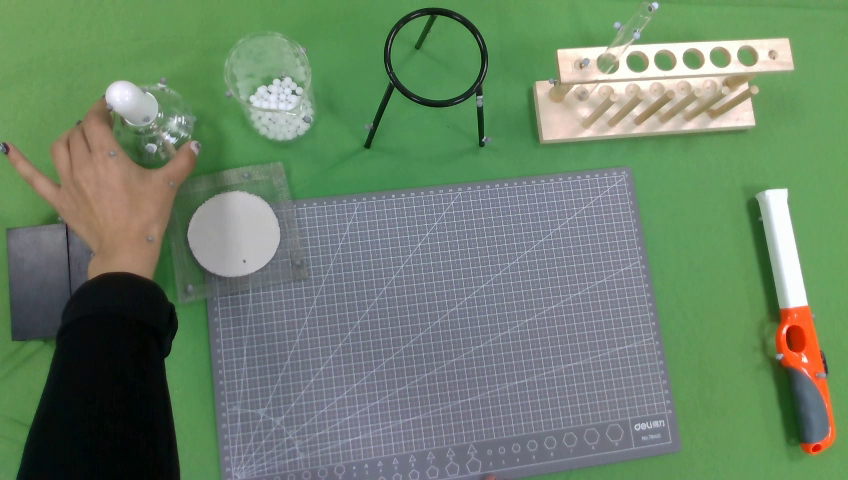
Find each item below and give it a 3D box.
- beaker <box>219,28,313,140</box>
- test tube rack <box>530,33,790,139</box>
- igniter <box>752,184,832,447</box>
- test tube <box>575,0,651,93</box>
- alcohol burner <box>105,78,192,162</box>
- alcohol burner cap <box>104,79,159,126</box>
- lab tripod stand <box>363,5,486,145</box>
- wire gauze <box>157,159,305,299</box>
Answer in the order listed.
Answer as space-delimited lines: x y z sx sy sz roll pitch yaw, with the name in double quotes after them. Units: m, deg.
-0.142 -0.140 0.577 0.074 0.100 0.084 -37 88 -10 "beaker"
0.242 -0.158 0.630 0.243 0.085 0.066 -5 82 -7 "test tube rack"
0.390 0.076 0.643 0.057 0.025 0.275 -4 82 -18 "igniter"
0.174 -0.178 0.575 0.017 0.150 0.017 1 77 -6 "test tube"
-0.256 -0.115 0.552 0.078 0.119 0.077 1 79 -6 "alcohol burner"
-0.252 -0.119 0.517 0.034 0.048 0.034 0 86 -1 "alcohol burner cap"
0.001 -0.152 0.577 0.148 0.132 0.148 1 81 -4 "lab tripod stand"
-0.190 -0.012 0.595 0.125 0.011 0.121 -12 83 -7 "wire gauze"
